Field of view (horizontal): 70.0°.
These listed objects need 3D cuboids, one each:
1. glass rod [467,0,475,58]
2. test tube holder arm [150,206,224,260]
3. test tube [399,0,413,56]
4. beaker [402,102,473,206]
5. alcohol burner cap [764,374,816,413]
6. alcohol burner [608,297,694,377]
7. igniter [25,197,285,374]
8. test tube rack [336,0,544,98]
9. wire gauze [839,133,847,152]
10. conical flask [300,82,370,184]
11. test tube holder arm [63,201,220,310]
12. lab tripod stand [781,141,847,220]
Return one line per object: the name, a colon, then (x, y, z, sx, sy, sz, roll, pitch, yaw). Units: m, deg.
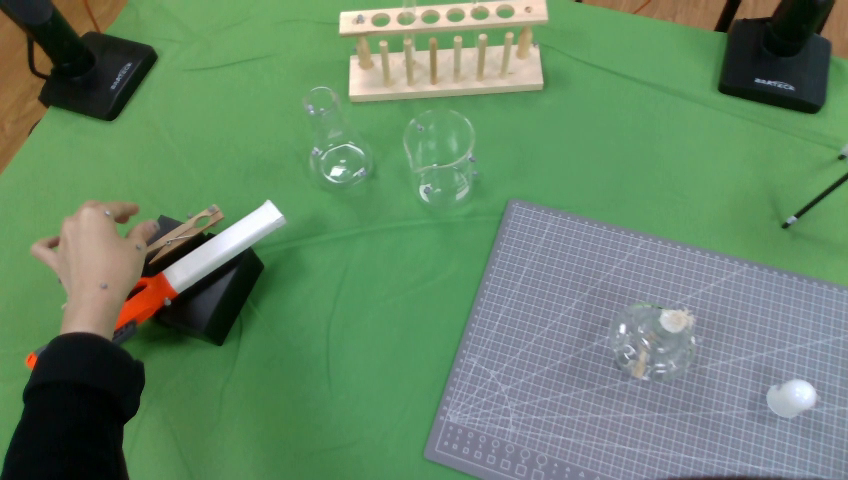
glass rod: (0.050, -0.287, 0.689, 0.008, 0.201, 0.008, -4, 57, 6)
test tube holder arm: (-0.249, -0.007, 0.632, 0.088, 0.015, 0.010, -35, 95, -10)
test tube: (-0.021, -0.269, 0.704, 0.017, 0.151, 0.017, 1, 63, -1)
beaker: (0.015, -0.087, 0.664, 0.073, 0.101, 0.084, 31, 71, 17)
alcohol burner cap: (0.344, 0.141, 0.566, 0.034, 0.048, 0.033, -1, 65, 3)
alcohol burner: (0.214, 0.084, 0.560, 0.078, 0.120, 0.077, 0, 64, 1)
igniter: (-0.265, 0.044, 0.607, 0.276, 0.025, 0.056, -36, 58, -14)
test tube rack: (0.021, -0.235, 0.740, 0.242, 0.086, 0.066, -3, 64, 2)
wire gauze: (0.462, -0.096, 0.546, 0.121, 0.011, 0.125, 37, 73, 17)
conical flask: (-0.105, -0.123, 0.675, 0.075, 0.123, 0.074, -1, 64, 3)
test tube holder arm: (-0.288, 0.014, 0.623, 0.178, 0.015, 0.013, -35, 96, -9)
lab tripod stand: (0.459, -0.067, 0.608, 0.148, 0.132, 0.147, -1, 64, 2)
